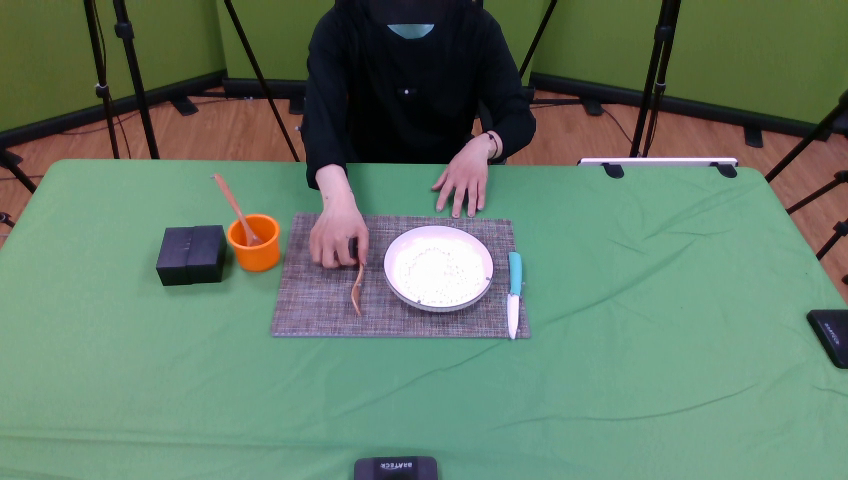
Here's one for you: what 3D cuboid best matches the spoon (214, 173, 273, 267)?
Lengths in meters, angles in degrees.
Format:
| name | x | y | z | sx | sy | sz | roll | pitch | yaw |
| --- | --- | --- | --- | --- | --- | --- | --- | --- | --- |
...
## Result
| name | x | y | z | sx | sy | sz | roll | pitch | yaw |
| --- | --- | --- | --- | --- | --- | --- | --- | --- | --- |
| spoon | -0.336 | -0.037 | 1.121 | 0.041 | 0.194 | 0.021 | -29 | 10 | -24 |

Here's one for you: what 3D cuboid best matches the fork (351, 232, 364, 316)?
| name | x | y | z | sx | sy | sz | roll | pitch | yaw |
| --- | --- | --- | --- | --- | --- | --- | --- | --- | --- |
| fork | -0.122 | 0.057 | 1.125 | 0.018 | 0.028 | 0.206 | -18 | 43 | 16 |

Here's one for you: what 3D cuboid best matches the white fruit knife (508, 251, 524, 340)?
| name | x | y | z | sx | sy | sz | roll | pitch | yaw |
| --- | --- | --- | --- | --- | --- | --- | --- | --- | --- |
| white fruit knife | 0.169 | 0.098 | 1.113 | 0.027 | 0.016 | 0.206 | -13 | 43 | 23 |

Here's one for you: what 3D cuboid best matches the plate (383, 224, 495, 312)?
| name | x | y | z | sx | sy | sz | roll | pitch | yaw |
| --- | --- | --- | --- | --- | --- | --- | --- | --- | --- |
| plate | 0.026 | 0.055 | 1.128 | 0.209 | 0.038 | 0.208 | 2 | 46 | -2 |
